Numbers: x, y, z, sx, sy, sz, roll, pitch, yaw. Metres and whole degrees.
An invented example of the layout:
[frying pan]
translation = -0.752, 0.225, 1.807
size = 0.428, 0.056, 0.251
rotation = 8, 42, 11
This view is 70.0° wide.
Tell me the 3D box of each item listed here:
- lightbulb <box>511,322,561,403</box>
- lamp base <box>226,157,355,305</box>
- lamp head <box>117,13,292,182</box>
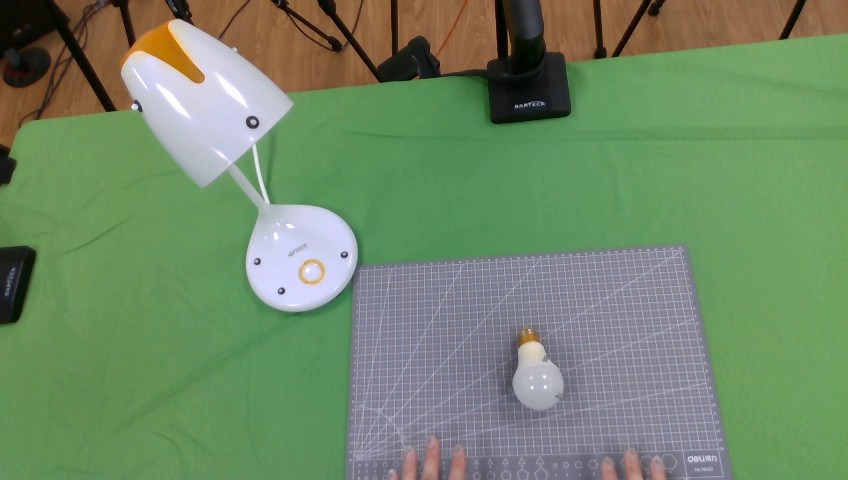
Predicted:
[lightbulb]
translation = 0.132, 0.147, 0.742
size = 0.059, 0.060, 0.106
rotation = -9, 50, 5
[lamp base]
translation = -0.196, -0.022, 0.792
size = 0.160, 0.182, 0.177
rotation = -42, 65, -11
[lamp head]
translation = -0.193, -0.127, 0.517
size = 0.123, 0.112, 0.112
rotation = 46, 77, -16
